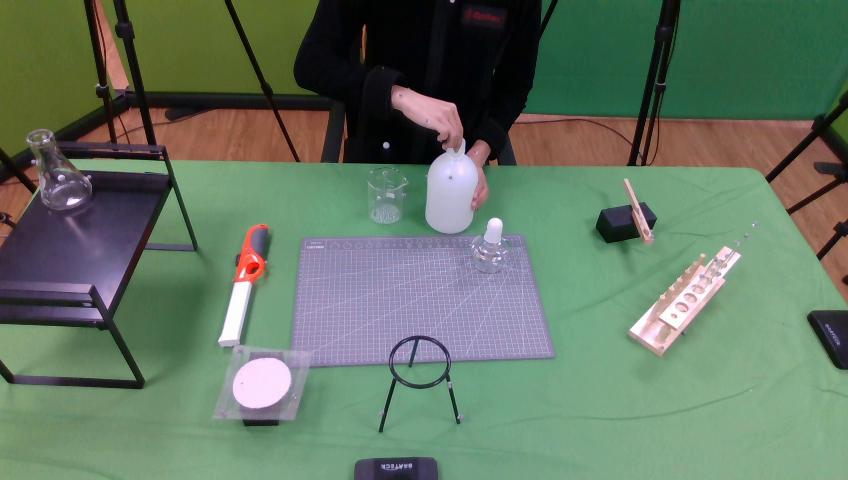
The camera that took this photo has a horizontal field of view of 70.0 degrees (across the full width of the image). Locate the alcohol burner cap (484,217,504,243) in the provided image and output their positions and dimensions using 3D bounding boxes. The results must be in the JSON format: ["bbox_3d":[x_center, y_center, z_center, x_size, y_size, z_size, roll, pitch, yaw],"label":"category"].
[{"bbox_3d":[0.130,-0.021,1.107,0.034,0.048,0.033,4,41,-3],"label":"alcohol burner cap"}]

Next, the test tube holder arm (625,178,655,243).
[{"bbox_3d":[0.433,-0.062,1.220,0.013,0.015,0.177,1,47,-3],"label":"test tube holder arm"}]

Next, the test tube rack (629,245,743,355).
[{"bbox_3d":[0.474,0.095,1.091,0.242,0.085,0.066,-34,56,-31],"label":"test tube rack"}]

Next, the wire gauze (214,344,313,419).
[{"bbox_3d":[-0.241,0.213,0.916,0.121,0.011,0.124,5,46,1],"label":"wire gauze"}]

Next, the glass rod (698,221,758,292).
[{"bbox_3d":[0.527,0.035,1.059,0.008,0.200,0.008,5,49,-6],"label":"glass rod"}]

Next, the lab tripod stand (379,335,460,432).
[{"bbox_3d":[-0.011,0.214,0.912,0.148,0.132,0.147,1,45,0],"label":"lab tripod stand"}]

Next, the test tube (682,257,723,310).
[{"bbox_3d":[0.475,0.080,1.037,0.017,0.151,0.017,1,50,-1],"label":"test tube"}]

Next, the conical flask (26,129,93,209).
[{"bbox_3d":[-0.575,-0.113,0.946,0.075,0.122,0.075,2,46,-2],"label":"conical flask"}]

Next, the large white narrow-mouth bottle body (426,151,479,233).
[{"bbox_3d":[0.057,-0.111,1.187,0.102,0.195,0.101,2,46,-2],"label":"large white narrow-mouth bottle body"}]

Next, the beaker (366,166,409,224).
[{"bbox_3d":[-0.074,-0.088,1.222,0.084,0.101,0.073,4,46,-1],"label":"beaker"}]

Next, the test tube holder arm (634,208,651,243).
[{"bbox_3d":[0.428,-0.030,1.189,0.010,0.015,0.087,1,47,-2],"label":"test tube holder arm"}]

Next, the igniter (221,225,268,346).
[{"bbox_3d":[-0.323,0.072,1.100,0.057,0.025,0.274,-6,45,5],"label":"igniter"}]

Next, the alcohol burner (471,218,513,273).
[{"bbox_3d":[0.128,0.005,1.132,0.078,0.120,0.077,0,47,0],"label":"alcohol burner"}]

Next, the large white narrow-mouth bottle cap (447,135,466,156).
[{"bbox_3d":[0.061,-0.174,1.119,0.038,0.024,0.037,2,46,-2],"label":"large white narrow-mouth bottle cap"}]
